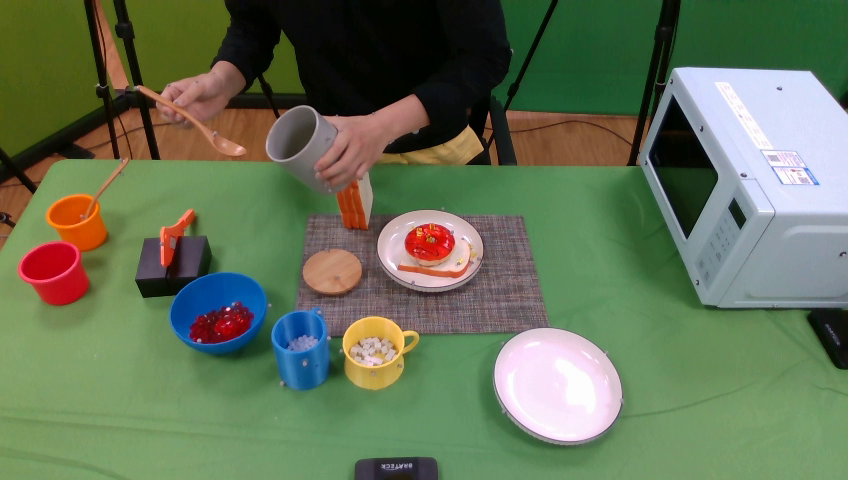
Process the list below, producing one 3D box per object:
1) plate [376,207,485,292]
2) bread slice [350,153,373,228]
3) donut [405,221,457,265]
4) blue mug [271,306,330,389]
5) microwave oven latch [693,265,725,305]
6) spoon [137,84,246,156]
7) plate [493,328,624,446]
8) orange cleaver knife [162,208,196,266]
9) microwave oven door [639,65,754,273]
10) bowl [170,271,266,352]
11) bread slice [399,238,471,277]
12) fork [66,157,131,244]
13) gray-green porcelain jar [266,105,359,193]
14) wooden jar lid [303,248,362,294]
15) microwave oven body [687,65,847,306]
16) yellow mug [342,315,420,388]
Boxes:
[{"bbox_3d":[0.012,0.021,1.159,0.209,0.038,0.208,2,47,-2],"label":"plate"},{"bbox_3d":[-0.124,-0.104,1.207,0.018,0.135,0.106,-1,47,7],"label":"bread slice"},{"bbox_3d":[0.013,0.004,1.136,0.099,0.048,0.098,0,45,0],"label":"donut"},{"bbox_3d":[-0.188,0.163,0.969,0.082,0.106,0.116,15,47,10],"label":"blue mug"},{"bbox_3d":[0.523,0.081,1.115,0.030,0.029,0.078,2,46,-1],"label":"microwave oven latch"},{"bbox_3d":[-0.370,-0.191,0.966,0.194,0.021,0.041,37,34,-8],"label":"spoon"},{"bbox_3d":[0.213,0.236,0.974,0.208,0.039,0.206,2,46,-2],"label":"plate"},{"bbox_3d":[-0.454,-0.010,1.129,0.012,0.077,0.210,-1,17,-6],"label":"orange cleaver knife"},{"bbox_3d":[0.522,-0.147,1.192,0.039,0.245,0.353,0,47,-3],"label":"microwave oven door"},{"bbox_3d":[-0.333,0.132,1.006,0.151,0.077,0.150,2,46,-2],"label":"bowl"},{"bbox_3d":[0.025,0.025,1.161,0.131,0.019,0.104,7,47,7],"label":"bread slice"},{"bbox_3d":[-0.608,-0.074,1.132,0.207,0.019,0.028,-52,49,10],"label":"fork"},{"bbox_3d":[-0.177,-0.143,0.997,0.106,0.127,0.105,-13,61,26],"label":"gray-green porcelain jar"},{"bbox_3d":[-0.169,0.060,1.122,0.108,0.021,0.107,2,45,-2],"label":"wooden jar lid"},{"bbox_3d":[0.669,-0.111,1.176,0.326,0.261,0.439,0,46,-3],"label":"microwave oven body"},{"bbox_3d":[-0.068,0.177,0.990,0.131,0.064,0.099,-15,50,-19],"label":"yellow mug"}]
